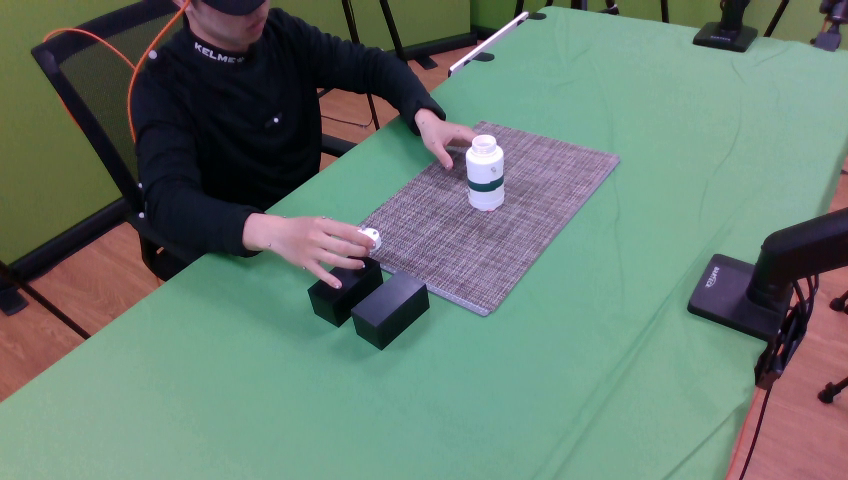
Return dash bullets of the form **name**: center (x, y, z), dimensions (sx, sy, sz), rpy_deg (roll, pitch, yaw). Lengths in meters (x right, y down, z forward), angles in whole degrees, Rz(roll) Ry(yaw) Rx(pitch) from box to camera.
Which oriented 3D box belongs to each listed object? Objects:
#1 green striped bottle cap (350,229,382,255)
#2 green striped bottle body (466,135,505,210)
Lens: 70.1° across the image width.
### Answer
- **green striped bottle cap**: center (-0.085, 0.003, 0.878), dimensions (0.044, 0.020, 0.044), rpy_deg (-8, 34, 6)
- **green striped bottle body**: center (0.102, -0.114, 1.006), dimensions (0.063, 0.120, 0.063), rpy_deg (-4, 41, 4)
